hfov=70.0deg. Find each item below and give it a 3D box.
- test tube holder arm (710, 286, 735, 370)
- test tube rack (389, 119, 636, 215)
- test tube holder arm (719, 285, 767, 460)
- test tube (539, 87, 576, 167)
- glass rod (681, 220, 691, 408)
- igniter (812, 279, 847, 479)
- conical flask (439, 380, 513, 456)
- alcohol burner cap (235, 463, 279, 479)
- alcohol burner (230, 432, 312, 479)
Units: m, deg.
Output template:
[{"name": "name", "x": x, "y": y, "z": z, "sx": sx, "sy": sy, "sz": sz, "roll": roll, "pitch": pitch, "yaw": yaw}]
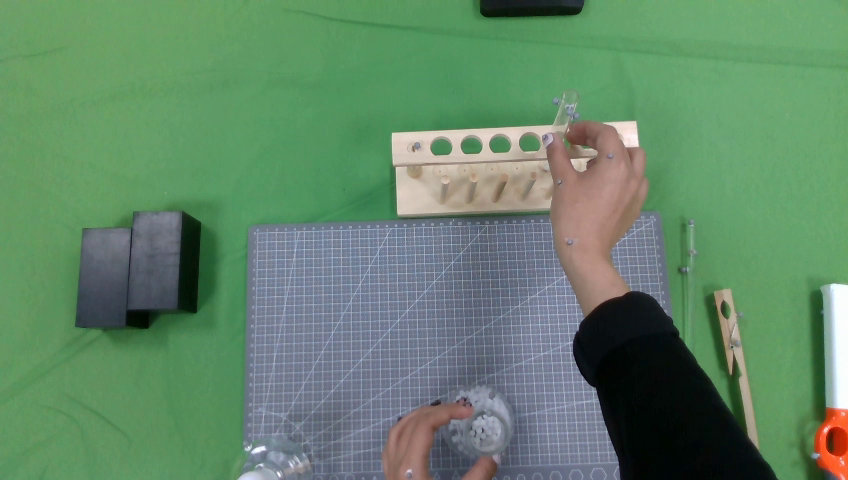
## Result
[{"name": "test tube holder arm", "x": 0.316, "y": 0.092, "z": 0.636, "sx": 0.010, "sy": 0.015, "sz": 0.087, "roll": -16, "pitch": 78, "yaw": 34}, {"name": "test tube rack", "x": 0.088, "y": -0.074, "z": 0.632, "sx": 0.242, "sy": 0.085, "sz": 0.066, "roll": -3, "pitch": 79, "yaw": -1}, {"name": "test tube holder arm", "x": 0.327, "y": 0.135, "z": 0.625, "sx": 0.013, "sy": 0.015, "sz": 0.177, "roll": -17, "pitch": 77, "yaw": 34}, {"name": "test tube", "x": 0.127, "y": -0.105, "z": 0.587, "sx": 0.017, "sy": 0.151, "sz": 0.017, "roll": -1, "pitch": 74, "yaw": 4}, {"name": "glass rod", "x": 0.278, "y": 0.077, "z": 0.643, "sx": 0.008, "sy": 0.008, "sz": 0.199, "roll": 5, "pitch": 82, "yaw": 1}, {"name": "igniter", "x": 0.421, "y": 0.178, "z": 0.614, "sx": 0.057, "sy": 0.025, "sz": 0.275, "roll": 7, "pitch": 80, "yaw": -9}, {"name": "conical flask", "x": 0.052, "y": 0.170, "z": 0.565, "sx": 0.075, "sy": 0.122, "sz": 0.075, "roll": 0, "pitch": 79, "yaw": 0}, {"name": "alcohol burner cap", "x": -0.147, "y": 0.210, "z": 0.525, "sx": 0.034, "sy": 0.048, "sz": 0.033, "roll": 0, "pitch": 70, "yaw": 1}, {"name": "alcohol burner", "x": -0.146, "y": 0.219, "z": 0.560, "sx": 0.078, "sy": 0.119, "sz": 0.077, "roll": 0, "pitch": 78, "yaw": 2}]
